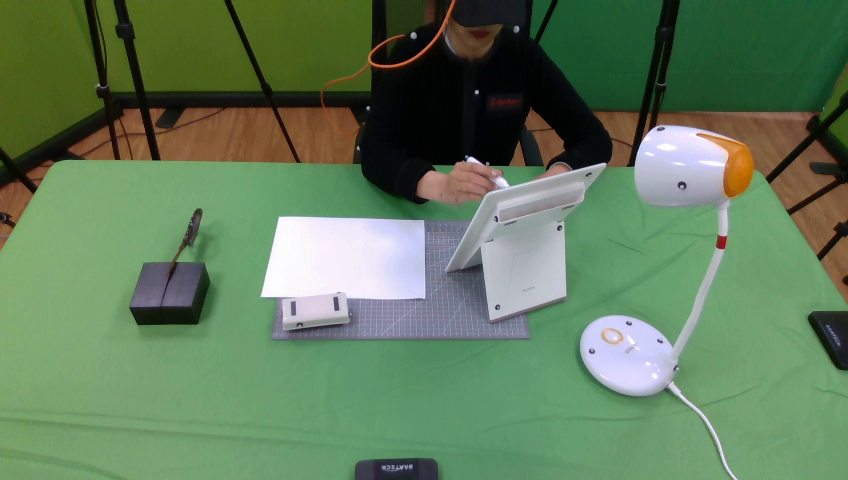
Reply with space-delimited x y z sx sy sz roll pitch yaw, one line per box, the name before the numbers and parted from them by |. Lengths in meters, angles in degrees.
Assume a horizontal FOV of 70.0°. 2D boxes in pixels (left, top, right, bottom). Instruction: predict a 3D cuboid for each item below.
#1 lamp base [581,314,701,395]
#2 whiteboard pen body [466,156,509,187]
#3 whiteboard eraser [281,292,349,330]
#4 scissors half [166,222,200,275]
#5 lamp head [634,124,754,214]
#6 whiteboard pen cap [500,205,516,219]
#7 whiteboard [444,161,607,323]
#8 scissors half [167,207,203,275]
lamp base | 0.361 0.144 0.973 0.178 0.181 0.160 34 53 23
whiteboard pen body | 0.113 -0.117 1.065 0.017 0.017 0.140 -18 36 -20
whiteboard eraser | -0.189 0.124 1.045 0.113 0.042 0.055 -6 46 -10
scissors half | -0.444 0.015 1.116 0.013 0.040 0.174 17 27 -11
lamp head | 0.351 -0.089 0.776 0.112 0.113 0.122 -30 30 -28
whiteboard pen cap | 0.170 -0.056 1.235 0.033 0.018 0.018 27 49 4
whiteboard | 0.186 0.025 1.029 0.217 0.306 0.143 -14 68 -18
scissors half | -0.436 0.000 1.104 0.013 0.040 0.174 21 44 -14
